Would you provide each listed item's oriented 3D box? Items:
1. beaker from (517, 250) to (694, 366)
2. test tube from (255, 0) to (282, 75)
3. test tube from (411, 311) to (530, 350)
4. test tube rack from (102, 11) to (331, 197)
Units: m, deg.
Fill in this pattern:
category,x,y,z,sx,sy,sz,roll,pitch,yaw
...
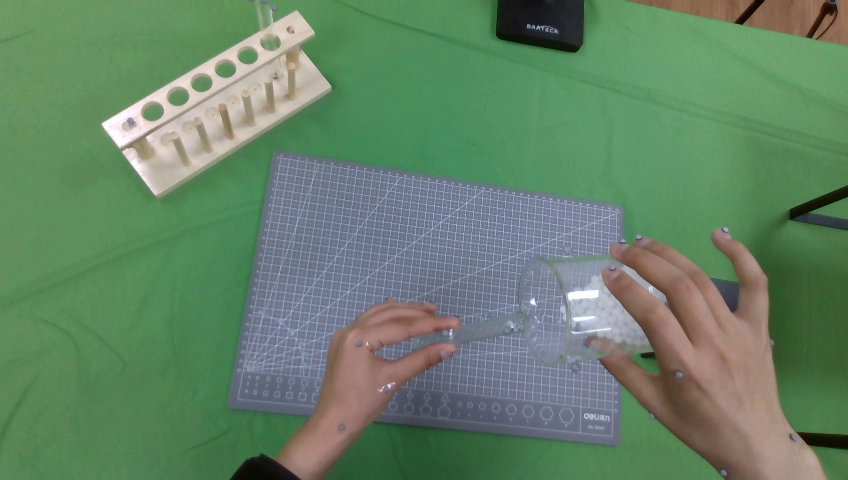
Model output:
category,x,y,z,sx,sy,sz,roll,pitch,yaw
beaker,0.124,0.045,0.420,0.100,0.084,0.073,-3,72,-15
test tube,-0.169,-0.225,0.661,0.017,0.151,0.017,2,73,-7
test tube,0.032,0.077,0.501,0.017,0.150,0.017,10,70,-31
test tube rack,-0.222,-0.153,0.685,0.242,0.085,0.066,-37,85,-17
